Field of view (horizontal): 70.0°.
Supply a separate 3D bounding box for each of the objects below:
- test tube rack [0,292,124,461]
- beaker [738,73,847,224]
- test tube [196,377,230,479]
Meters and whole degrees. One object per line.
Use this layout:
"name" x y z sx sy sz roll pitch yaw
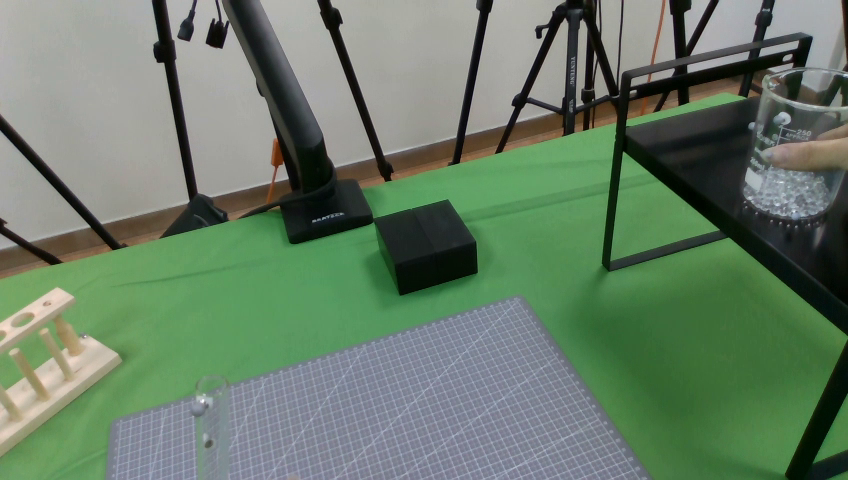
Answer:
"test tube rack" -0.432 0.162 0.589 0.066 0.086 0.242 18 43 29
"beaker" 0.291 -0.071 0.474 0.074 0.101 0.083 -19 38 -16
"test tube" -0.111 0.135 0.322 0.017 0.151 0.017 8 26 -3
